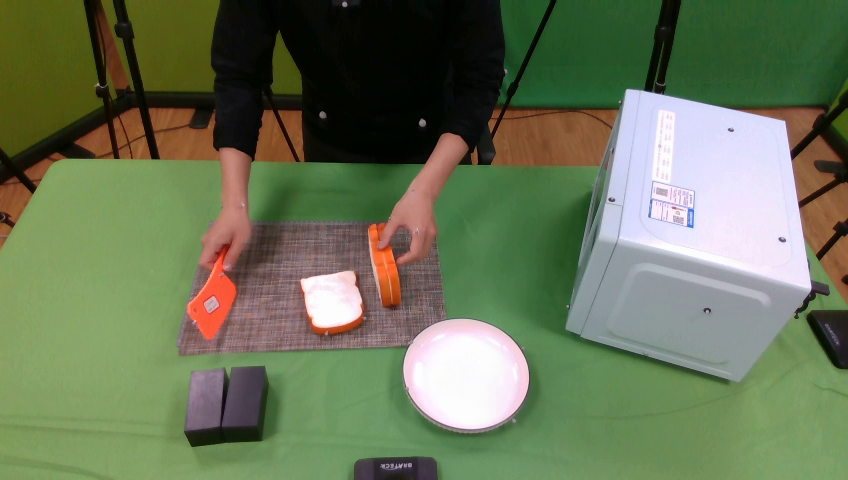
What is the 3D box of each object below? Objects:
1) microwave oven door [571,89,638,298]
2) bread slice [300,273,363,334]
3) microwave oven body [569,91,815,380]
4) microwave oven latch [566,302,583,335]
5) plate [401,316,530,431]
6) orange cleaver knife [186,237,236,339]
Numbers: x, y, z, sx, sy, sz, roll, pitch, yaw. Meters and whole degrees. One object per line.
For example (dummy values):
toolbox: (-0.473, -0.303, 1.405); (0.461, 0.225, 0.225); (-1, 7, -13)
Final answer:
microwave oven door: (0.343, -0.091, 1.132); (0.039, 0.245, 0.354); (15, 47, 10)
bread slice: (-0.164, 0.113, 1.076); (0.107, 0.018, 0.133); (-11, 39, -7)
microwave oven body: (0.468, -0.022, 1.082); (0.325, 0.261, 0.440); (15, 46, 11)
microwave oven latch: (0.268, 0.126, 1.059); (0.030, 0.029, 0.079); (16, 46, 12)
plate: (0.066, 0.217, 0.982); (0.208, 0.039, 0.206); (2, 46, -2)
orange cleaver knife: (-0.356, 0.079, 1.052); (0.012, 0.077, 0.210); (-20, 36, 19)
